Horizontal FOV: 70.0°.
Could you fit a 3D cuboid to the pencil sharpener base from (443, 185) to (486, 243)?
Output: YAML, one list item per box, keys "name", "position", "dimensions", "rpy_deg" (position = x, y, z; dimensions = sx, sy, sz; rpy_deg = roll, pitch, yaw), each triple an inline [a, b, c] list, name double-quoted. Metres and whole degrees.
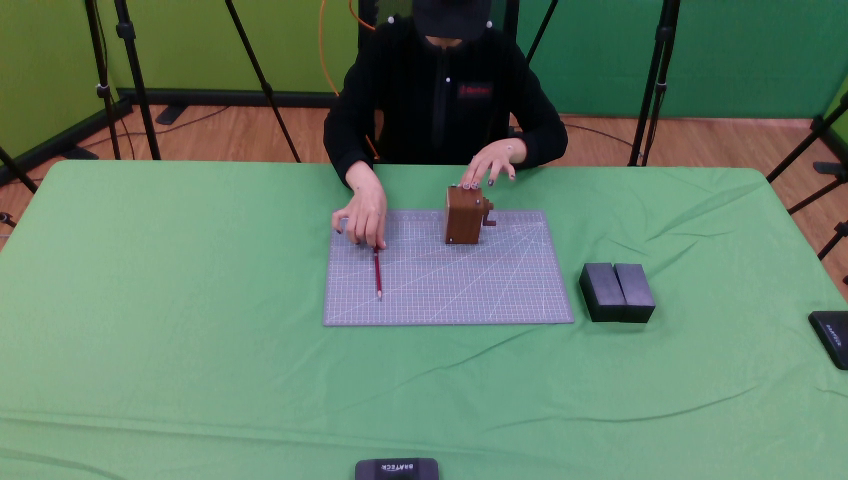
- name: "pencil sharpener base"
  position: [0.078, -0.049, 1.188]
  dimensions: [0.077, 0.107, 0.061]
  rpy_deg: [2, 46, -3]

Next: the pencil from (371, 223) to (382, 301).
- name: "pencil"
  position: [-0.090, 0.039, 1.161]
  dimensions: [0.012, 0.012, 0.192]
  rpy_deg: [-3, 48, -6]

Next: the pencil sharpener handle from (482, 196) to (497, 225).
- name: "pencil sharpener handle"
  position: [0.130, -0.056, 1.182]
  dimensions: [0.031, 0.068, 0.036]
  rpy_deg: [2, 43, -3]
